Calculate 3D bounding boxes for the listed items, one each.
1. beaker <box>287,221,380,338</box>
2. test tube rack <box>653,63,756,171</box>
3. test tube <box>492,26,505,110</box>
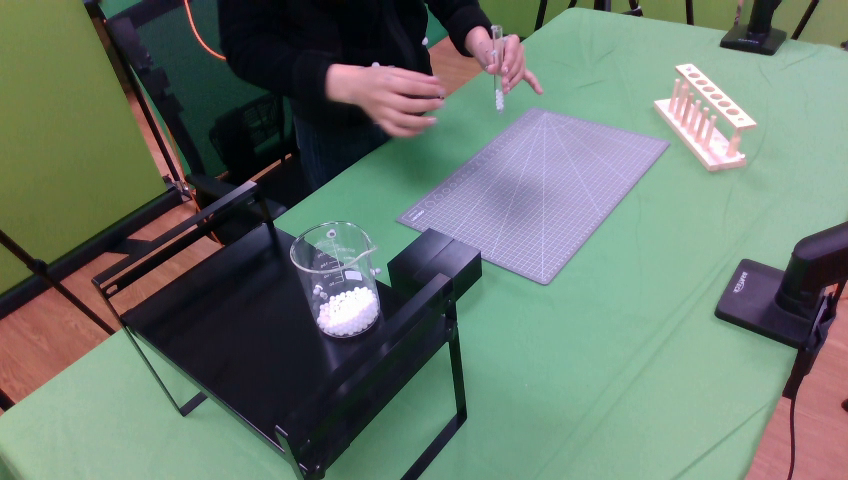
[{"bbox_3d":[-0.083,0.042,0.602,0.084,0.101,0.073,-5,41,3],"label":"beaker"},{"bbox_3d":[0.510,-0.233,1.120,0.067,0.085,0.241,-9,41,-1],"label":"test tube rack"},{"bbox_3d":[0.121,-0.277,0.986,0.017,0.151,0.017,-5,47,6],"label":"test tube"}]
